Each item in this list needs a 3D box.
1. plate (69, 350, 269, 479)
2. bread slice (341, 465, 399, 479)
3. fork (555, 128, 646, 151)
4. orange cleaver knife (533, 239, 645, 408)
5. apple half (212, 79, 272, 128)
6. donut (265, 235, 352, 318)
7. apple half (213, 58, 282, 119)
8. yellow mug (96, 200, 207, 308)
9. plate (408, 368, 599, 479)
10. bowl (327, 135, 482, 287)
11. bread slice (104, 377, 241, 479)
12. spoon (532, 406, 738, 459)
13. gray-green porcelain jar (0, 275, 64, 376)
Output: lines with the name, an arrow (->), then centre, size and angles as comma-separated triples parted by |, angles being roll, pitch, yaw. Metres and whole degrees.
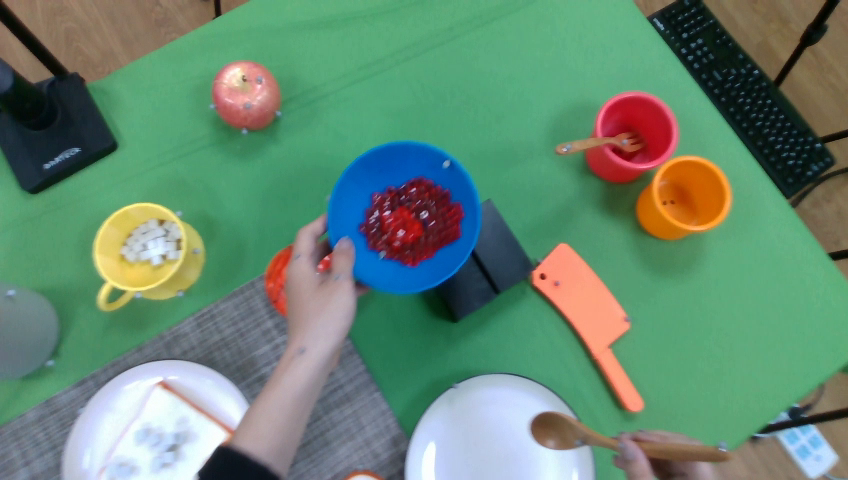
plate -> -0.271, 0.226, 0.658 | 0.208, 0.039, 0.206 | 1, 77, -2
bread slice -> -0.068, 0.303, 0.624 | 0.134, 0.018, 0.106 | -36, 77, -29
fork -> 0.208, -0.116, 0.701 | 0.208, 0.018, 0.028 | -14, 73, -48
orange cleaver knife -> 0.208, 0.095, 0.719 | 0.077, 0.012, 0.210 | -30, 79, -15
apple half -> -0.223, -0.154, 0.729 | 0.081, 0.081, 0.032 | 24, 72, 4
donut -> -0.133, 0.042, 0.701 | 0.099, 0.048, 0.098 | 0, 78, -2
apple half -> -0.208, -0.188, 0.739 | 0.080, 0.075, 0.053 | 23, 72, 7
yellow mug -> -0.318, 0.023, 0.691 | 0.100, 0.064, 0.130 | 34, 79, 6
plate -> 0.086, 0.247, 0.670 | 0.209, 0.038, 0.208 | 0, 77, -2
bowl -> -0.018, -0.023, 0.620 | 0.151, 0.077, 0.151 | 0, 81, 2
bread slice -> -0.278, 0.231, 0.657 | 0.105, 0.019, 0.131 | 31, 77, 5
spoon -> 0.165, 0.165, 0.506 | 0.021, 0.193, 0.042 | -27, 99, -33
gray-green porcelain jar -> -0.459, 0.090, 0.640 | 0.106, 0.127, 0.105 | 1, 77, -2
